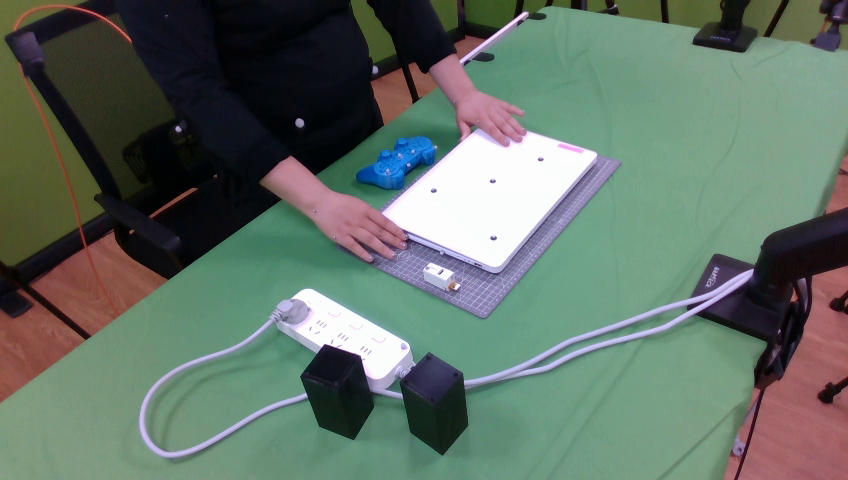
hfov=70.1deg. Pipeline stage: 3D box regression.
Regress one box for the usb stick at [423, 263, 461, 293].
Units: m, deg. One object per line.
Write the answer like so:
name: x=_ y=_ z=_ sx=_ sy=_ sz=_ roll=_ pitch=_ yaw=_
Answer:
usb stick: x=0.028 y=0.058 z=0.889 sx=0.059 sy=0.027 sz=0.021 roll=24 pitch=46 yaw=30

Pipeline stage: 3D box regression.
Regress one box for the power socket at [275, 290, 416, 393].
power socket: x=-0.114 y=0.132 z=0.821 sx=0.225 sy=0.033 sz=0.072 roll=24 pitch=48 yaw=31

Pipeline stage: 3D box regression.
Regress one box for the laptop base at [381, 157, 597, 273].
laptop base: x=0.121 y=-0.081 z=1.049 sx=0.233 sy=0.023 sz=0.355 roll=19 pitch=46 yaw=32

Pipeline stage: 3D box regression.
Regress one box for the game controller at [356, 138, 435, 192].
game controller: x=-0.049 y=-0.149 z=1.136 sx=0.096 sy=0.052 sz=0.155 roll=27 pitch=51 yaw=29

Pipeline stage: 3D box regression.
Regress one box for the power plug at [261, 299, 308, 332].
power plug: x=-0.193 y=0.109 z=0.830 sx=0.073 sy=0.053 sz=0.035 roll=-35 pitch=48 yaw=-23

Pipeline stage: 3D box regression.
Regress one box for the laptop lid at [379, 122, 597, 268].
laptop lid: x=0.118 y=-0.096 z=1.038 sx=0.240 sy=0.013 sz=0.358 roll=25 pitch=49 yaw=30
